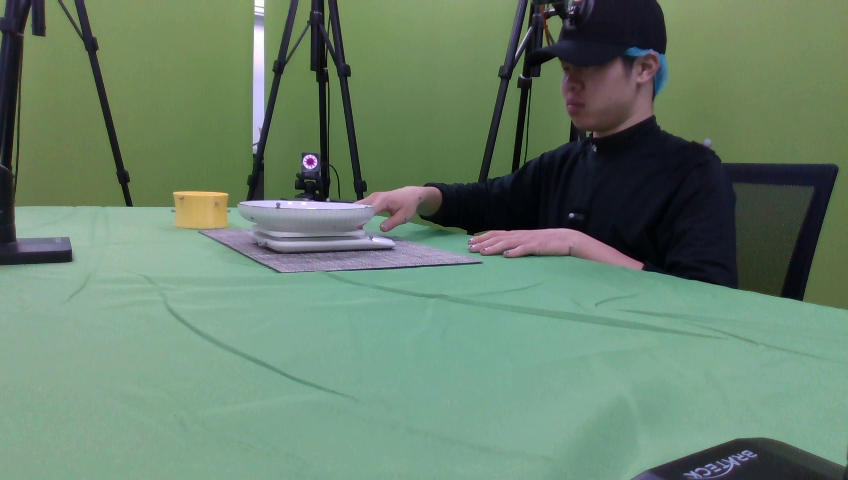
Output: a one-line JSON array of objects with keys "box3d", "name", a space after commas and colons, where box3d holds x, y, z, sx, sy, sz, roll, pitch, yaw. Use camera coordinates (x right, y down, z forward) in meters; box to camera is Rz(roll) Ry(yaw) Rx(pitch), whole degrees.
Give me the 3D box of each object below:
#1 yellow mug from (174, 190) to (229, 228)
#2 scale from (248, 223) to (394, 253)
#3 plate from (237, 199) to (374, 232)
[{"box3d": [-0.427, -0.063, 1.189, 0.100, 0.064, 0.131, 5, 7, 13], "name": "yellow mug"}, {"box3d": [-0.162, -0.006, 0.954, 0.202, 0.031, 0.148, -1, 8, -32], "name": "scale"}, {"box3d": [-0.183, -0.039, 0.941, 0.209, 0.038, 0.209, 3, 7, 0], "name": "plate"}]
